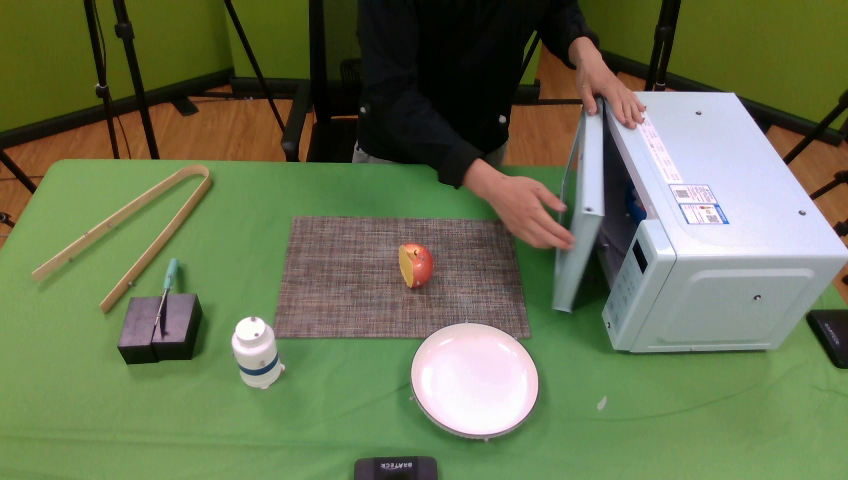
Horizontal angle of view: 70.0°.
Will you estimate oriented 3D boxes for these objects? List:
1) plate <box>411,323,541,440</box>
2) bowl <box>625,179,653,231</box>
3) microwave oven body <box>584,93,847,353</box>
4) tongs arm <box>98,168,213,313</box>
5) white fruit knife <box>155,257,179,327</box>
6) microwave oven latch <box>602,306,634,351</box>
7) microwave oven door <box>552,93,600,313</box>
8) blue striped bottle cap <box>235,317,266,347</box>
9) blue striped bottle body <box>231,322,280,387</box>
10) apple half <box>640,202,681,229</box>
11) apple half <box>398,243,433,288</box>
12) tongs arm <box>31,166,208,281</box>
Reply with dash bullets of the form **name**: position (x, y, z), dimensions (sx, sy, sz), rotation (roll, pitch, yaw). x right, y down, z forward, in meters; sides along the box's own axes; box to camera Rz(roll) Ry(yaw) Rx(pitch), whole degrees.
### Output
- **plate**: position (0.082, 0.228, 0.976), dimensions (0.208, 0.039, 0.206), rotation (2, 45, -2)
- **bowl**: position (0.453, -0.048, 1.171), dimensions (0.151, 0.077, 0.150), rotation (8, 35, -5)
- **microwave oven body**: position (0.475, -0.042, 1.110), dimensions (0.326, 0.261, 0.438), rotation (-1, 45, -4)
- **tongs arm**: position (-0.504, -0.012, 1.167), dimensions (0.028, 0.028, 0.385), rotation (11, 45, 11)
- **white fruit knife**: position (-0.440, 0.085, 1.037), dimensions (0.016, 0.027, 0.206), rotation (10, 26, -19)
- **microwave oven latch**: position (0.332, 0.153, 1.044), dimensions (0.030, 0.029, 0.078), rotation (0, 45, -4)
- **microwave oven door**: position (0.285, -0.078, 1.123), dimensions (0.039, 0.245, 0.354), rotation (10, 46, 6)
- **blue striped bottle cap**: position (-0.260, 0.137, 0.907), dimensions (0.044, 0.021, 0.044), rotation (3, 43, -2)
- **blue striped bottle body**: position (-0.262, 0.171, 0.944), dimensions (0.063, 0.121, 0.062), rotation (2, 46, -2)
- **apple half**: position (0.455, -0.054, 1.161), dimensions (0.081, 0.033, 0.081), rotation (-5, 34, 3)
- **apple half**: position (-0.012, 0.046, 1.115), dimensions (0.053, 0.075, 0.080), rotation (-11, 44, -20)
- **tongs arm**: position (-0.578, -0.040, 1.185), dimensions (0.050, 0.026, 0.384), rotation (23, 47, 17)
